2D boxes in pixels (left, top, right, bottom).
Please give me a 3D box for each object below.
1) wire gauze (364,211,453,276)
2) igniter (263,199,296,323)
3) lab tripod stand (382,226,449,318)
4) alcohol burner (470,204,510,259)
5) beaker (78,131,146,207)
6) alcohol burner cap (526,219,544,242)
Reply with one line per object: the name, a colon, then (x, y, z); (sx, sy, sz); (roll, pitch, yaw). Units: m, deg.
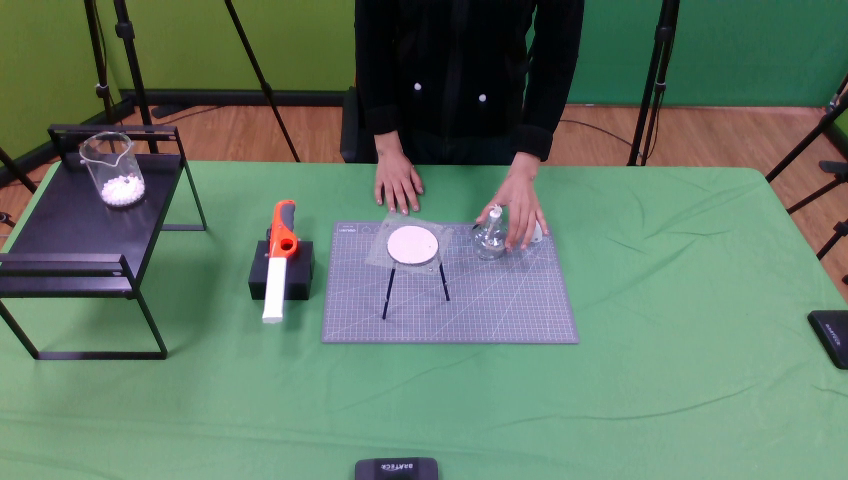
wire gauze: (-0.024, 0.006, 1.016); (0.121, 0.011, 0.124); (14, 48, 9)
igniter: (-0.260, 0.027, 1.083); (0.057, 0.025, 0.274); (0, 49, -7)
lab tripod stand: (-0.024, 0.055, 1.062); (0.148, 0.132, 0.147); (2, 48, -2)
alcohol burner: (0.128, -0.021, 1.161); (0.078, 0.120, 0.077); (2, 44, -2)
beaker: (-0.488, -0.108, 0.961); (0.074, 0.101, 0.083); (-25, 54, -25)
alcohol burner cap: (0.225, -0.021, 1.218); (0.034, 0.048, 0.033); (1, 46, -1)
